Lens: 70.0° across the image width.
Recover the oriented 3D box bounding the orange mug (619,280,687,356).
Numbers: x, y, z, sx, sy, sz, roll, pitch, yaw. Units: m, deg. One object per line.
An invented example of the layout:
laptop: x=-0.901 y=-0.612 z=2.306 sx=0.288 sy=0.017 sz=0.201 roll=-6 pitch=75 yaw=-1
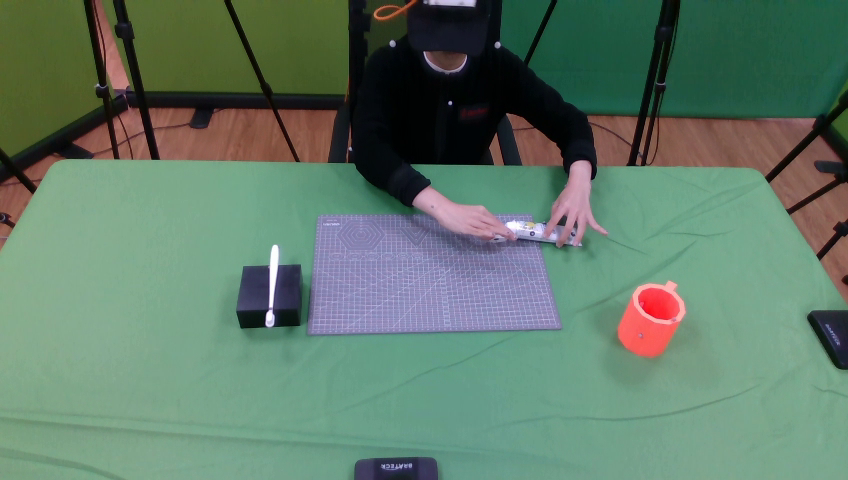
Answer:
orange mug: x=0.401 y=0.125 z=1.045 sx=0.083 sy=0.101 sz=0.126 roll=30 pitch=56 yaw=24

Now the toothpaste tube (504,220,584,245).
toothpaste tube: x=0.240 y=-0.016 z=1.219 sx=0.165 sy=0.034 sz=0.054 roll=4 pitch=49 yaw=-11

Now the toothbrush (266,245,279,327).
toothbrush: x=-0.261 y=0.073 z=1.042 sx=0.014 sy=0.017 sz=0.180 roll=-6 pitch=46 yaw=-3

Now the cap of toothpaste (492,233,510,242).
cap of toothpaste: x=0.152 y=-0.006 z=1.196 sx=0.037 sy=0.037 sz=0.011 roll=-5 pitch=73 yaw=-9
